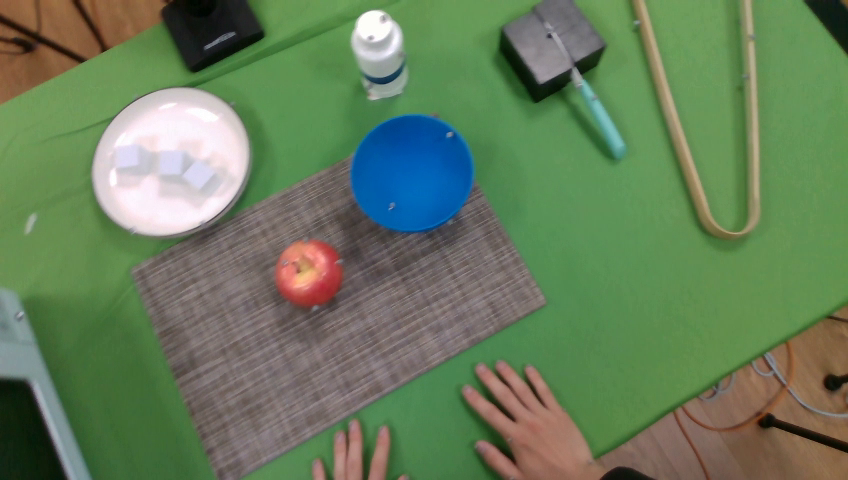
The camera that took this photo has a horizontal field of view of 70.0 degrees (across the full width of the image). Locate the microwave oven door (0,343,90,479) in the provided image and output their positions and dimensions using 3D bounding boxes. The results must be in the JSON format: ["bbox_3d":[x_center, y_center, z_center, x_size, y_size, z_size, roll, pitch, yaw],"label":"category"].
[{"bbox_3d":[-0.412,0.256,0.596,0.039,0.245,0.354,-31,77,-5],"label":"microwave oven door"}]

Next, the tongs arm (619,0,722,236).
[{"bbox_3d":[0.317,-0.186,0.807,0.028,0.028,0.385,-12,76,-3],"label":"tongs arm"}]

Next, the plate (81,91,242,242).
[{"bbox_3d":[-0.342,-0.094,0.803,0.207,0.039,0.206,0,76,2],"label":"plate"}]

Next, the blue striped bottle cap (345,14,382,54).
[{"bbox_3d":[-0.074,-0.250,0.735,0.044,0.021,0.044,0,75,1],"label":"blue striped bottle cap"}]

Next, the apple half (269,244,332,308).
[{"bbox_3d":[-0.156,0.052,0.738,0.053,0.075,0.080,-44,81,-4],"label":"apple half"}]

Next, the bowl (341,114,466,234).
[{"bbox_3d":[-0.022,-0.072,0.761,0.151,0.077,0.150,-1,76,2],"label":"bowl"}]

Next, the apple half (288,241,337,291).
[{"bbox_3d":[-0.128,0.026,0.743,0.033,0.081,0.081,-44,78,-5],"label":"apple half"}]

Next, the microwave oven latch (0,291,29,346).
[{"bbox_3d":[-0.518,0.100,0.743,0.030,0.029,0.079,-30,78,-6],"label":"microwave oven latch"}]

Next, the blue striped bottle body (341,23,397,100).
[{"bbox_3d":[-0.070,-0.237,0.785,0.063,0.121,0.062,0,75,2],"label":"blue striped bottle body"}]

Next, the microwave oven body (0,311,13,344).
[{"bbox_3d":[-0.560,0.296,0.597,0.326,0.261,0.439,-30,78,-6],"label":"microwave oven body"}]

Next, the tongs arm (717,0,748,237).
[{"bbox_3d":[0.398,-0.194,0.802,0.051,0.026,0.383,0,77,3],"label":"tongs arm"}]

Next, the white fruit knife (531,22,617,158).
[{"bbox_3d":[0.194,-0.198,0.793,0.016,0.027,0.207,-32,88,-7],"label":"white fruit knife"}]
